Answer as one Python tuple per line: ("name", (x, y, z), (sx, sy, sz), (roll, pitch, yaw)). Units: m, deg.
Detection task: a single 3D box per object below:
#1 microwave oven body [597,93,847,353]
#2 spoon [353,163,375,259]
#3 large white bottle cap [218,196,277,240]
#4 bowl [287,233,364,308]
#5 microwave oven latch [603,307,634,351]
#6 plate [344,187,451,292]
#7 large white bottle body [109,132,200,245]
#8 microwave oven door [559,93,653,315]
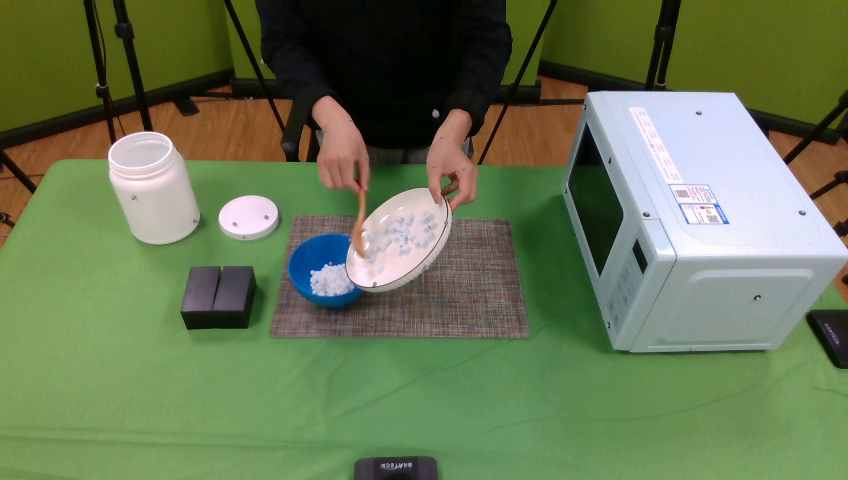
("microwave oven body", (0.475, -0.041, 1.109), (0.326, 0.261, 0.438), (-1, 45, -4))
("spoon", (-0.107, -0.053, 1.043), (0.042, 0.021, 0.192), (12, 60, -33))
("large white bottle cap", (-0.354, -0.045, 1.220), (0.115, 0.018, 0.114), (2, 45, -1))
("bowl", (-0.165, 0.068, 1.078), (0.151, 0.077, 0.150), (3, 45, -3))
("microwave oven latch", (0.332, 0.153, 1.044), (0.030, 0.029, 0.078), (0, 45, -3))
("plate", (-0.041, 0.002, 1.002), (0.209, 0.038, 0.208), (-25, 40, 24))
("large white bottle body", (-0.506, -0.097, 1.141), (0.131, 0.185, 0.130), (2, 46, -2))
("microwave oven door", (0.327, -0.075, 1.123), (0.039, 0.245, 0.353), (-1, 46, -5))
